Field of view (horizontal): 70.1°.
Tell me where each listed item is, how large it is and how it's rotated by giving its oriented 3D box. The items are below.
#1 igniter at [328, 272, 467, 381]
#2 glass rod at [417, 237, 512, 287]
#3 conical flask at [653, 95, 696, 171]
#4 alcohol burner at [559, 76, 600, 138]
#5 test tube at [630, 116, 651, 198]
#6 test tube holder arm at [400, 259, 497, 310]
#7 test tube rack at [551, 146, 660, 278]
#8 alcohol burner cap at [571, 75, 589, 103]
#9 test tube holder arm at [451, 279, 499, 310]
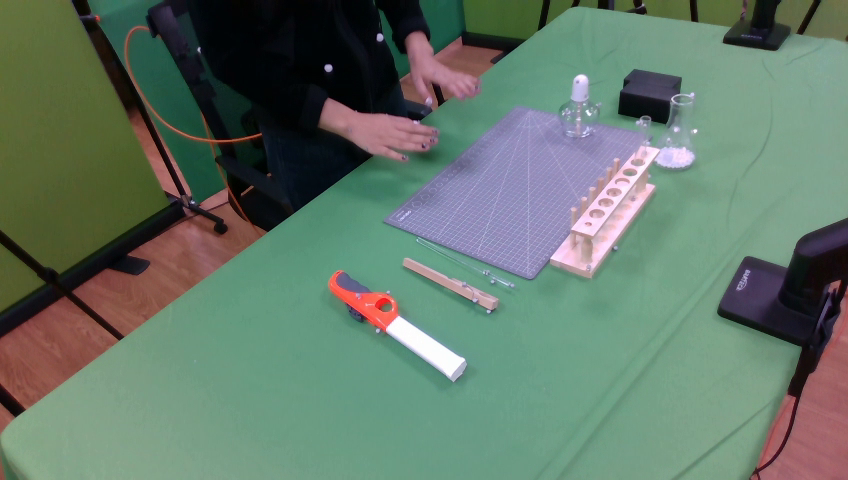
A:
[{"bbox_3d":[-0.049,0.114,0.854,0.274,0.025,0.057,29,63,37],"label":"igniter"},{"bbox_3d":[0.059,0.032,0.945,0.198,0.008,0.008,26,52,38],"label":"glass rod"},{"bbox_3d":[0.437,-0.187,1.043,0.075,0.122,0.075,-6,40,5],"label":"conical flask"},{"bbox_3d":[0.298,-0.258,1.156,0.078,0.119,0.077,-4,39,4],"label":"alcohol burner"},{"bbox_3d":[0.336,-0.125,0.941,0.017,0.151,0.017,-5,43,5],"label":"test tube"},{"bbox_3d":[0.033,0.064,0.902,0.177,0.015,0.013,23,13,32],"label":"test tube holder arm"},{"bbox_3d":[0.286,-0.053,0.943,0.066,0.085,0.243,21,49,32],"label":"test tube rack"},{"bbox_3d":[0.294,-0.284,1.132,0.034,0.048,0.033,-5,46,5],"label":"alcohol burner cap"},{"bbox_3d":[0.071,0.079,0.882,0.087,0.015,0.010,23,14,34],"label":"test tube holder arm"}]
